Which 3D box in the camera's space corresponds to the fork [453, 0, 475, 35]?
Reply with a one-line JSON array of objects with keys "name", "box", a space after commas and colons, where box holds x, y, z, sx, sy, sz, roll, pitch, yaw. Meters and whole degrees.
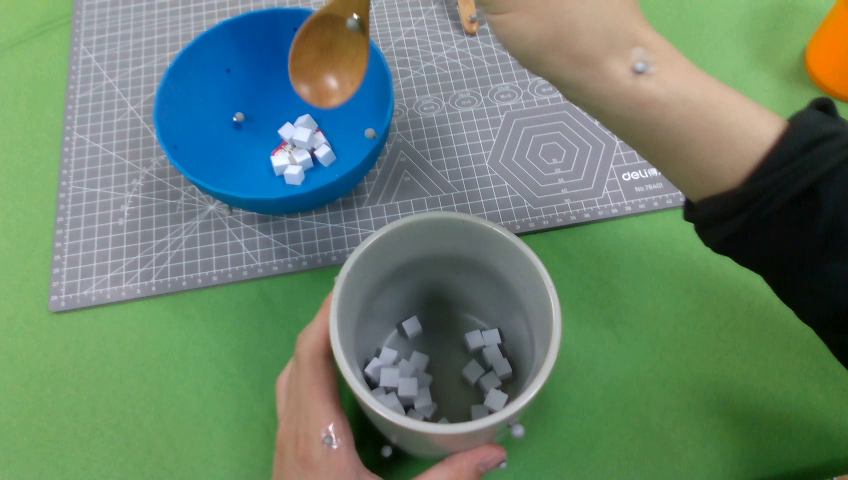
[{"name": "fork", "box": [0.013, -0.269, 0.503, 0.028, 0.018, 0.206, -12, 84, -11]}]

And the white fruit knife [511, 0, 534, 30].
[{"name": "white fruit knife", "box": [0.062, -0.276, 0.507, 0.016, 0.027, 0.206, -11, 79, -5]}]

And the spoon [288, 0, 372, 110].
[{"name": "spoon", "box": [-0.018, -0.133, 0.275, 0.042, 0.194, 0.021, 32, 47, -10]}]

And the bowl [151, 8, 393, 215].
[{"name": "bowl", "box": [-0.094, -0.073, 0.413, 0.151, 0.077, 0.150, 0, 65, 1]}]

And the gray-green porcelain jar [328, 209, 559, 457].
[{"name": "gray-green porcelain jar", "box": [0.010, 0.059, 0.327, 0.106, 0.127, 0.105, -1, 64, 2]}]
